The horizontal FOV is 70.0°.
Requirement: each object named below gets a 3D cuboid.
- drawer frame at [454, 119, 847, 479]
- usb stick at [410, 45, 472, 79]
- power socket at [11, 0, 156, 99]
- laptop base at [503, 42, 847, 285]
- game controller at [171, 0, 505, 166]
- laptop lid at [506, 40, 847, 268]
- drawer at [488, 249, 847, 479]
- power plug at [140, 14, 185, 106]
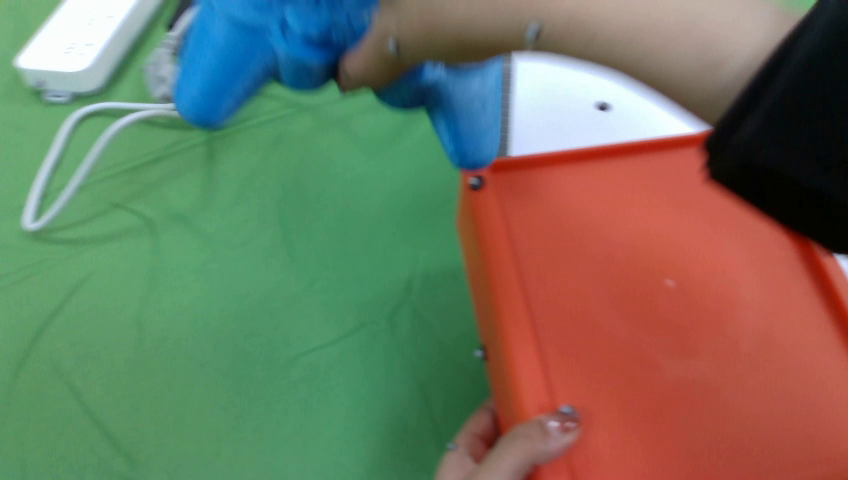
[{"bbox_3d":[0.135,0.047,0.350,0.202,0.083,0.211,-9,61,-6],"label":"drawer frame"},{"bbox_3d":[0.018,-0.160,0.542,0.059,0.027,0.021,-11,32,-33],"label":"usb stick"},{"bbox_3d":[-0.316,-0.226,0.592,0.072,0.033,0.225,7,56,4],"label":"power socket"},{"bbox_3d":[0.241,-0.067,0.487,0.354,0.023,0.233,4,59,3],"label":"laptop base"},{"bbox_3d":[-0.032,-0.095,0.286,0.156,0.052,0.096,8,67,-17],"label":"game controller"},{"bbox_3d":[0.241,-0.072,0.476,0.356,0.013,0.239,5,58,4],"label":"laptop lid"},{"bbox_3d":[0.150,0.118,0.312,0.195,0.074,0.209,-7,60,-6],"label":"drawer"},{"bbox_3d":[-0.210,-0.149,0.520,0.072,0.053,0.035,-49,33,3],"label":"power plug"}]
